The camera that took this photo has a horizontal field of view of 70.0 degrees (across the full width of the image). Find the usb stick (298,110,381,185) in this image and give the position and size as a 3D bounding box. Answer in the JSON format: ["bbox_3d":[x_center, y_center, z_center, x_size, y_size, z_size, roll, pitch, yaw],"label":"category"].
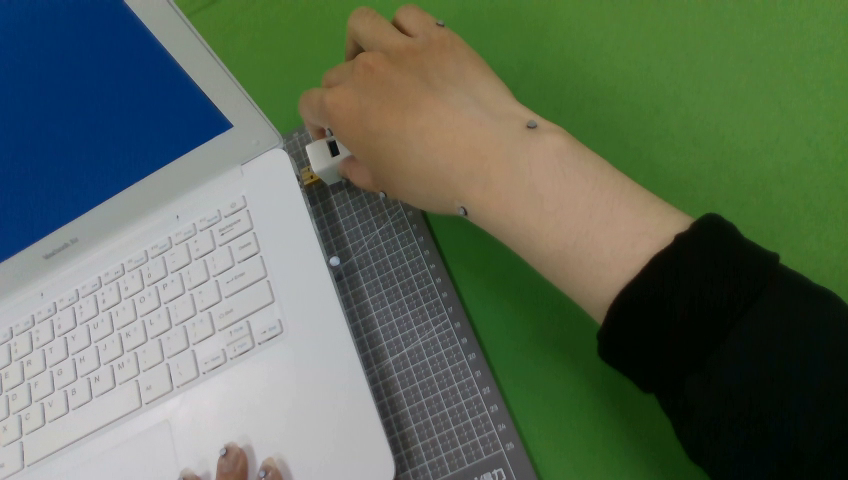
[{"bbox_3d":[-0.059,-0.055,0.383,0.059,0.027,0.021,-31,70,22],"label":"usb stick"}]

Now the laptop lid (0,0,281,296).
[{"bbox_3d":[-0.296,-0.057,0.358,0.356,0.244,0.013,-29,44,8],"label":"laptop lid"}]

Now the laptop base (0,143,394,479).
[{"bbox_3d":[-0.206,0.108,0.387,0.354,0.023,0.233,-28,66,7],"label":"laptop base"}]
